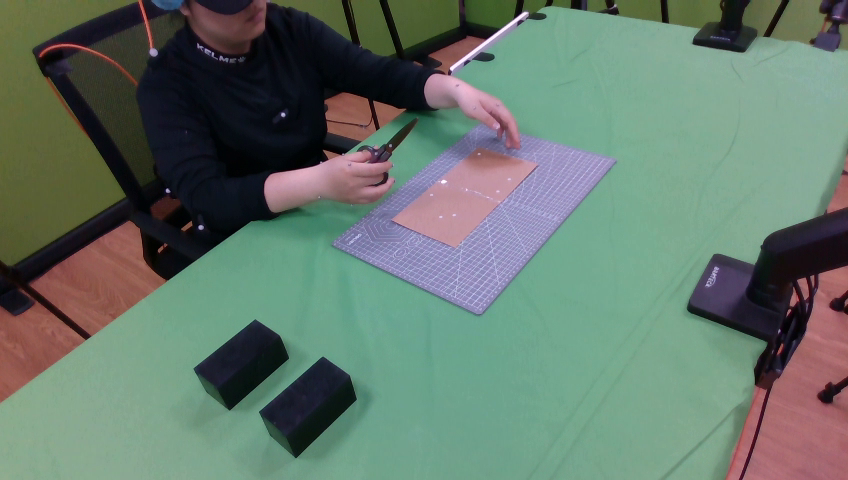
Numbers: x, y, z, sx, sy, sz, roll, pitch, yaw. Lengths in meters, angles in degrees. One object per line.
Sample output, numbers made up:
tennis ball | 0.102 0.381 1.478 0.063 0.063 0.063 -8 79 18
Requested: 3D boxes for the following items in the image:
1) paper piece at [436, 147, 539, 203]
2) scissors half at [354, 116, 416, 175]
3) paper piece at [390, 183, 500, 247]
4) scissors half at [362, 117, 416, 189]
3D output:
paper piece | 0.117 -0.122 1.104 0.135 0.009 0.138 25 49 28
scissors half | -0.066 -0.156 0.986 0.174 0.040 0.013 -29 2 44
paper piece | 0.037 -0.048 1.027 0.134 0.004 0.136 24 48 30
scissors half | -0.055 -0.139 0.983 0.013 0.175 0.040 -24 71 -44
